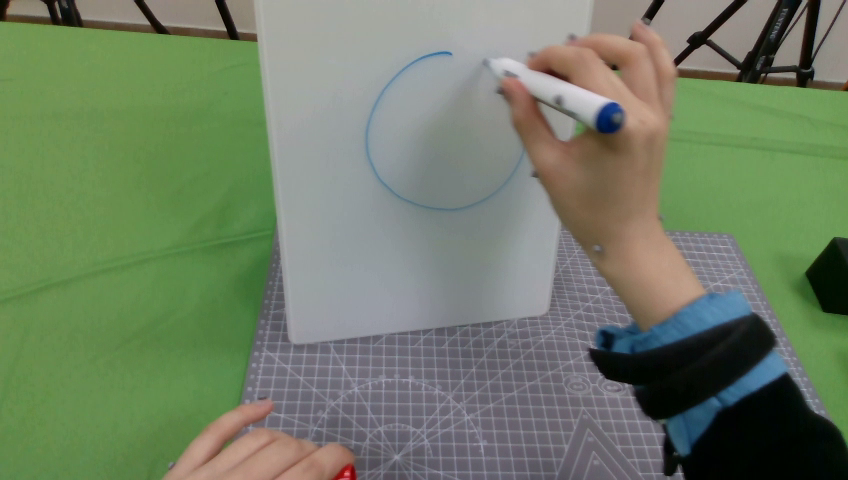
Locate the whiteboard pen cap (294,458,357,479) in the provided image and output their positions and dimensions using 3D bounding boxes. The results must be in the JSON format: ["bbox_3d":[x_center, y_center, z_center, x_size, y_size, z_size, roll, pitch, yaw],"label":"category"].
[{"bbox_3d":[-0.054,0.129,0.333,0.032,0.017,0.017,0,46,4],"label":"whiteboard pen cap"}]

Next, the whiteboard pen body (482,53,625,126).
[{"bbox_3d":[0.065,-0.090,0.341,0.017,0.017,0.139,-12,30,-18],"label":"whiteboard pen body"}]

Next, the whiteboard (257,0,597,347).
[{"bbox_3d":[-0.009,-0.094,0.475,0.218,0.307,0.142,-5,28,-12],"label":"whiteboard"}]
